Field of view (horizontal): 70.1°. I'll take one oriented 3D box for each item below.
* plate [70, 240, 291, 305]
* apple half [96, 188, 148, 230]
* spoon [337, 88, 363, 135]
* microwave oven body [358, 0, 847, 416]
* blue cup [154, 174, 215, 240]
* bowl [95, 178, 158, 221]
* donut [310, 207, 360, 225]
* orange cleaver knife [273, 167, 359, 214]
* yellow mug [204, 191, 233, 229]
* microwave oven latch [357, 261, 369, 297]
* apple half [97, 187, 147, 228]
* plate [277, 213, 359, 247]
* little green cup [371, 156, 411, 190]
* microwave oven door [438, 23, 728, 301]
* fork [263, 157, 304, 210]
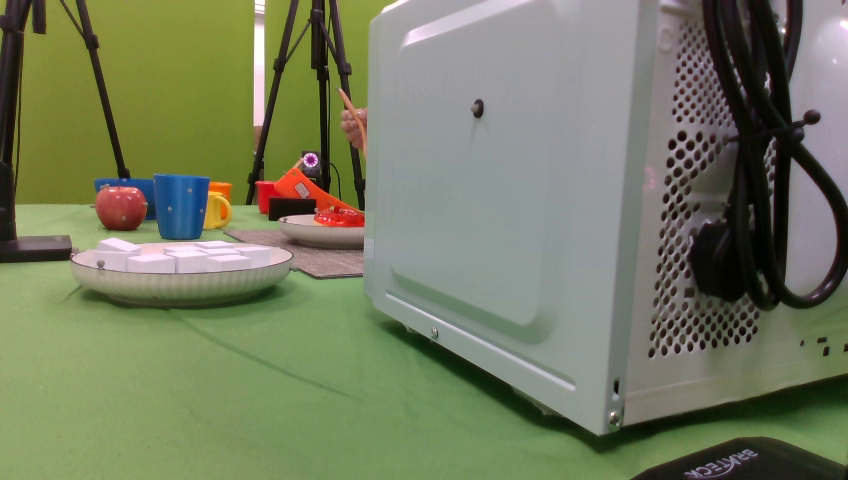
[{"bbox_3d":[-0.242,0.031,0.618,0.208,0.039,0.207,2,8,0],"label":"plate"},{"bbox_3d":[-0.517,-0.052,1.036,0.081,0.074,0.053,3,10,-26],"label":"apple half"},{"bbox_3d":[-0.107,-0.186,1.017,0.021,0.193,0.042,-35,-25,27],"label":"spoon"},{"bbox_3d":[0.211,-0.047,0.474,0.444,0.260,0.324,-1,7,-28],"label":"microwave oven body"},{"bbox_3d":[-0.391,-0.053,0.978,0.093,0.100,0.092,4,6,0],"label":"blue cup"},{"bbox_3d":[-0.576,-0.081,1.217,0.151,0.077,0.151,3,8,0],"label":"bowl"},{"bbox_3d":[-0.137,-0.028,0.995,0.099,0.048,0.099,5,8,0],"label":"donut"},{"bbox_3d":[-0.238,-0.091,1.381,0.212,0.077,0.012,31,0,-19],"label":"orange cleaver knife"},{"bbox_3d":[-0.415,-0.057,1.131,0.130,0.064,0.100,6,8,16],"label":"yellow mug"},{"bbox_3d":[-0.019,0.033,0.530,0.079,0.029,0.030,-1,7,-27],"label":"microwave oven latch"},{"bbox_3d":[-0.534,-0.059,1.071,0.082,0.081,0.032,-1,11,-25],"label":"apple half"},{"bbox_3d":[-0.134,-0.017,0.992,0.209,0.038,0.209,2,7,0],"label":"plate"},{"bbox_3d":[-0.051,-0.107,0.979,0.061,0.038,0.061,-20,1,1],"label":"little green cup"},{"bbox_3d":[0.181,-0.072,0.621,0.358,0.243,0.039,-2,8,-29],"label":"microwave oven door"},{"bbox_3d":[-0.345,-0.143,1.505,0.028,0.019,0.207,-4,46,28],"label":"fork"}]
